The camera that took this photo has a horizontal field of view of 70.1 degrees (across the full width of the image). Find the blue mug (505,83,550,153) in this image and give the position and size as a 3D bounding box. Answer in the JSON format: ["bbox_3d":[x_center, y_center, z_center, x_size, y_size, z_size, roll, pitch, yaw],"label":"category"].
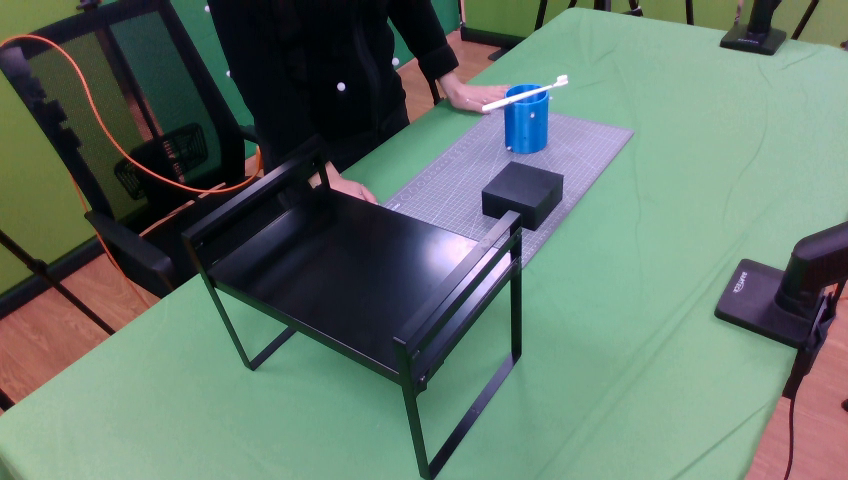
[{"bbox_3d":[0.204,-0.242,1.160,0.082,0.106,0.116,14,45,24],"label":"blue mug"}]

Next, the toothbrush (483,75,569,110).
[{"bbox_3d":[0.188,-0.269,1.103,0.182,0.017,0.014,-21,47,-16],"label":"toothbrush"}]
